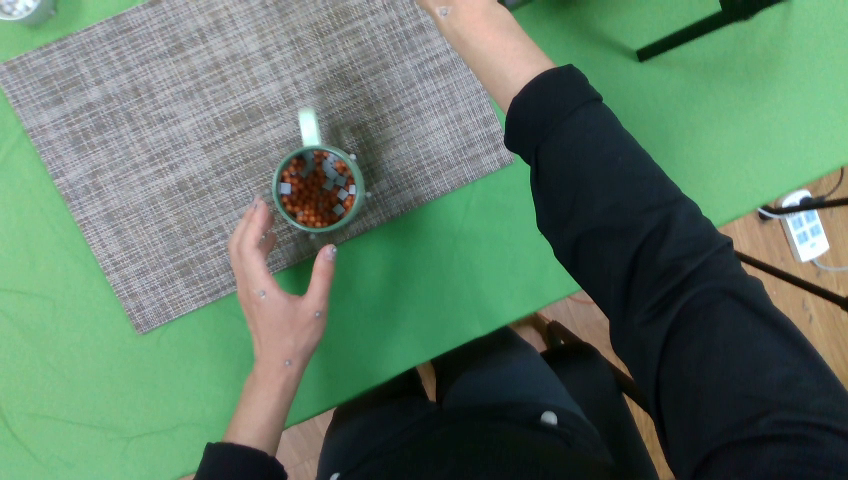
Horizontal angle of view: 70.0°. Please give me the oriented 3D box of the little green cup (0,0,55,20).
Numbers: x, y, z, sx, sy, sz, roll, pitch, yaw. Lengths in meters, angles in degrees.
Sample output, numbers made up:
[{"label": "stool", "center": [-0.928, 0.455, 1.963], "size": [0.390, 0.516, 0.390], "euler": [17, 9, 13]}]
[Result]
[{"label": "little green cup", "center": [-0.389, -0.242, 0.580], "size": [0.062, 0.038, 0.061], "euler": [-1, 97, -8]}]

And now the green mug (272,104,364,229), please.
[{"label": "green mug", "center": [-0.108, -0.072, 0.603], "size": [0.092, 0.104, 0.125], "euler": [-8, 97, -6]}]
